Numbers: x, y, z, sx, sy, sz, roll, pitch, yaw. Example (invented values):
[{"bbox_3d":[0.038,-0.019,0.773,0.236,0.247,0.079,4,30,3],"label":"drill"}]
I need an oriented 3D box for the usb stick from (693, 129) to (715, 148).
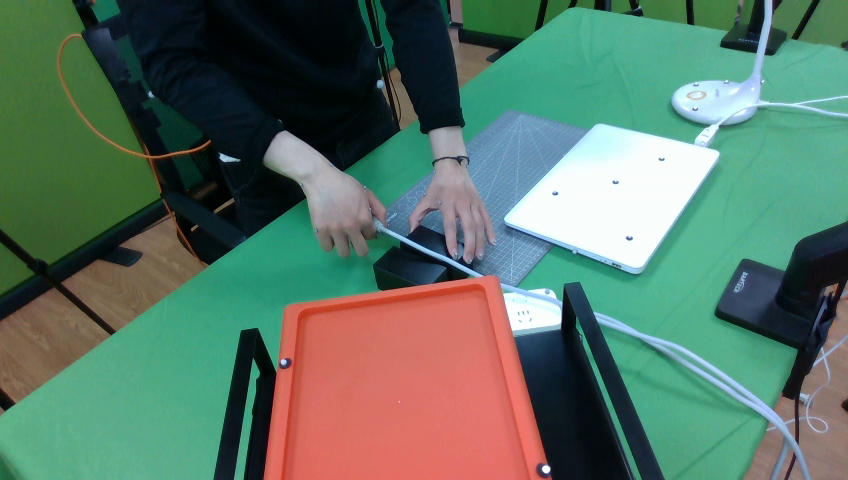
[{"bbox_3d":[0.501,-0.176,1.092,0.021,0.027,0.059,29,55,29],"label":"usb stick"}]

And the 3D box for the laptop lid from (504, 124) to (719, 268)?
[{"bbox_3d":[0.323,-0.093,1.021,0.240,0.013,0.358,23,49,32],"label":"laptop lid"}]

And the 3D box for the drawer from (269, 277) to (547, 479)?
[{"bbox_3d":[-0.018,0.137,0.493,0.195,0.073,0.210,-7,41,-1],"label":"drawer"}]

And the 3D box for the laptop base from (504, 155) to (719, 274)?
[{"bbox_3d":[0.325,-0.083,1.028,0.233,0.023,0.355,21,48,32],"label":"laptop base"}]

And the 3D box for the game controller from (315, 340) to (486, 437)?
[{"bbox_3d":[-0.021,0.120,0.534,0.155,0.052,0.096,-3,37,0],"label":"game controller"}]

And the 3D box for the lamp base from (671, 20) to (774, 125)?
[{"bbox_3d":[0.581,-0.332,1.154,0.179,0.181,0.160,2,41,7],"label":"lamp base"}]

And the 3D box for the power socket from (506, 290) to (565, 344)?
[{"bbox_3d":[0.081,0.112,0.822,0.227,0.033,0.072,-7,41,0],"label":"power socket"}]

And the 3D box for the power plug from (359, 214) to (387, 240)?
[{"bbox_3d":[-0.078,-0.010,0.935,0.035,0.053,0.072,-23,53,-1],"label":"power plug"}]

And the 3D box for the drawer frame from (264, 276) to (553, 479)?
[{"bbox_3d":[-0.016,0.137,0.490,0.202,0.083,0.212,-8,41,-2],"label":"drawer frame"}]
